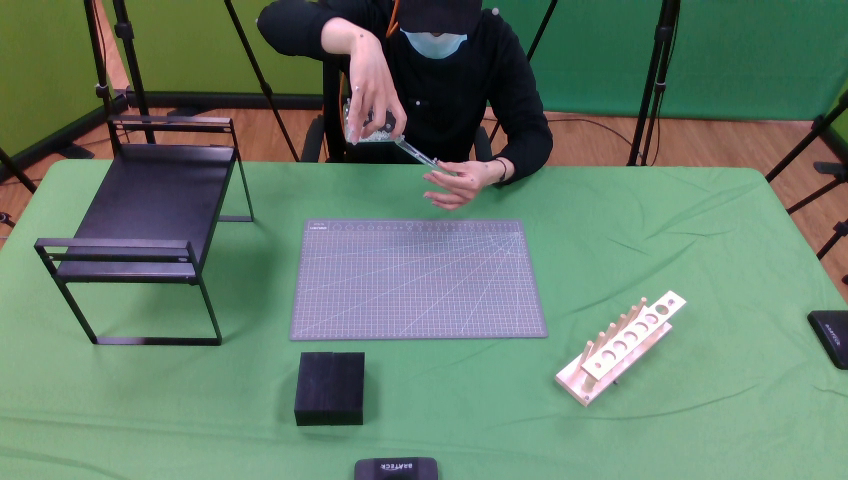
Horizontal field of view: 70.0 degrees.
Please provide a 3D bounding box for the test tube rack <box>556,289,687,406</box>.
[{"bbox_3d":[0.332,0.165,1.014,0.242,0.085,0.066,-31,55,-28],"label":"test tube rack"}]

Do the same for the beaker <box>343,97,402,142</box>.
[{"bbox_3d":[-0.091,-0.209,1.072,0.100,0.084,0.073,-3,41,-5],"label":"beaker"}]

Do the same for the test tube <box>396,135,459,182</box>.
[{"bbox_3d":[0.008,-0.151,1.137,0.151,0.017,0.017,31,38,-29],"label":"test tube"}]
